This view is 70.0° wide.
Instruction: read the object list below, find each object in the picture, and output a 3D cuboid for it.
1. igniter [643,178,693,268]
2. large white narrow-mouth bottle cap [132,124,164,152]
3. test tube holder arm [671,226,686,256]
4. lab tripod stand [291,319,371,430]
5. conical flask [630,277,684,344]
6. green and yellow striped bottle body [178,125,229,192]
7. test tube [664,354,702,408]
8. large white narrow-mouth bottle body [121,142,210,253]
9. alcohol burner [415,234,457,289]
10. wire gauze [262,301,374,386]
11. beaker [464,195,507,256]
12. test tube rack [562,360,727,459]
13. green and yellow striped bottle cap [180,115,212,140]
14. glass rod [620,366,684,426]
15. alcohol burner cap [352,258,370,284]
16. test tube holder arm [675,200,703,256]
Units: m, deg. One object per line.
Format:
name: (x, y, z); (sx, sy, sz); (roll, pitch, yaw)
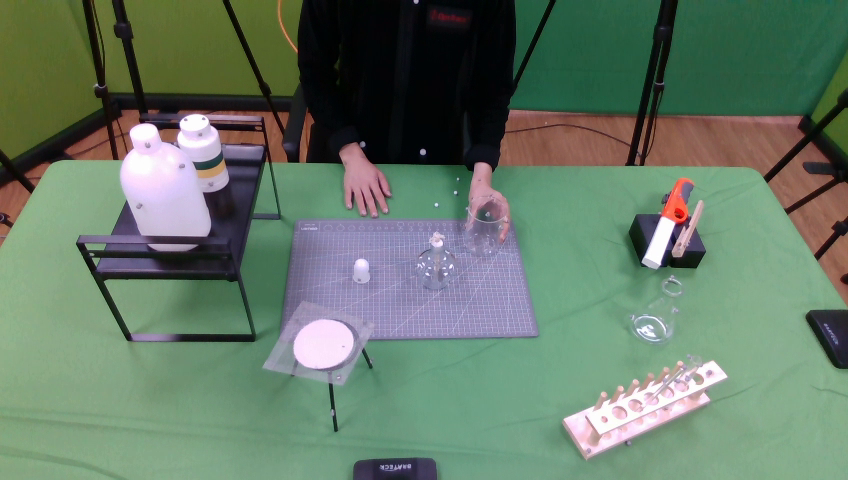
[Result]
igniter: (0.488, -0.042, 1.205); (0.057, 0.025, 0.276); (30, 51, 11)
large white narrow-mouth bottle cap: (-0.370, -0.138, 0.812); (0.038, 0.024, 0.037); (3, 46, -3)
test tube holder arm: (0.494, 0.001, 1.167); (0.010, 0.015, 0.087); (1, 36, 42)
lab tripod stand: (-0.146, 0.193, 0.923); (0.148, 0.132, 0.147); (1, 47, -1)
conical flask: (0.408, 0.117, 1.045); (0.075, 0.122, 0.075); (2, 46, -2)
green and yellow striped bottle body: (-0.361, -0.142, 0.989); (0.063, 0.120, 0.063); (2, 46, -2)
test tube: (0.385, 0.215, 0.906); (0.017, 0.151, 0.017); (-1, 49, 1)
large white narrow-mouth bottle body: (-0.378, -0.077, 0.875); (0.102, 0.195, 0.101); (3, 46, -3)
alcohol burner: (0.022, 0.033, 1.100); (0.078, 0.120, 0.077); (1, 47, -1)
wire gauze: (-0.150, 0.148, 0.873); (0.121, 0.011, 0.124); (14, 46, 12)
beaker: (0.117, -0.027, 1.174); (0.074, 0.101, 0.083); (22, 48, 16)
test tube rack: (0.341, 0.247, 0.940); (0.243, 0.085, 0.066); (-16, 49, -19)
green and yellow striped bottle cap: (-0.358, -0.177, 0.951); (0.045, 0.020, 0.045); (2, 44, -2)
glass rod: (0.322, 0.227, 0.866); (0.008, 0.200, 0.008); (5, 51, -7)
alcohol burner cap: (-0.117, 0.055, 1.118); (0.034, 0.048, 0.033); (2, 46, -2)
test tube holder arm: (0.523, -0.025, 1.190); (0.013, 0.015, 0.178); (1, 36, 41)
